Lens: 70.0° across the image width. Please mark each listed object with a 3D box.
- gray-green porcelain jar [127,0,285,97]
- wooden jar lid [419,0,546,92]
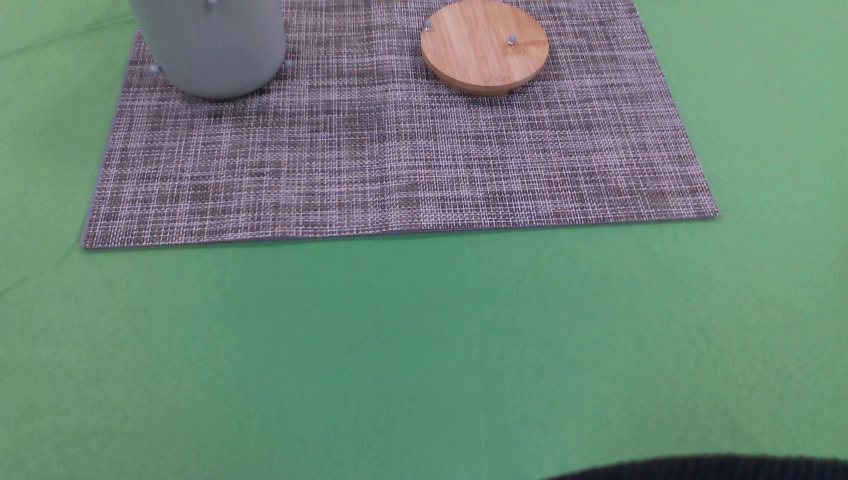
[{"bbox_3d":[-0.164,-0.181,0.453,0.106,0.127,0.105,1,58,-2],"label":"gray-green porcelain jar"},{"bbox_3d":[0.049,-0.165,0.516,0.108,0.021,0.107,1,57,-1],"label":"wooden jar lid"}]
